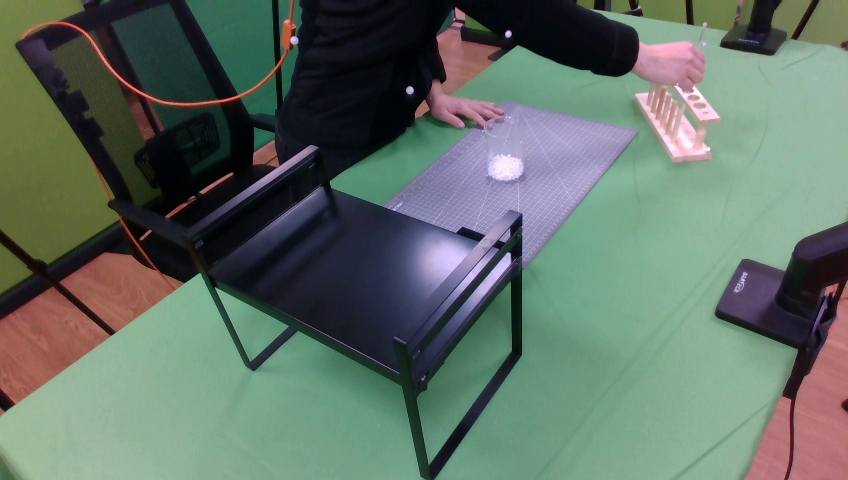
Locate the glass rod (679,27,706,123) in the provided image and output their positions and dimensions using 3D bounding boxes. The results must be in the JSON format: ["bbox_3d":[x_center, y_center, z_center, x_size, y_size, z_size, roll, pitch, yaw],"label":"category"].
[{"bbox_3d":[0.479,-0.290,1.085,0.008,0.200,0.008,-4,49,5],"label":"glass rod"}]

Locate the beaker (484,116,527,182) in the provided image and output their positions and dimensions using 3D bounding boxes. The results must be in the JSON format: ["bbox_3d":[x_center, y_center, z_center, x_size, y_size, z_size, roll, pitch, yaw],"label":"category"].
[{"bbox_3d":[0.147,-0.162,1.079,0.073,0.101,0.084,13,44,22],"label":"beaker"}]

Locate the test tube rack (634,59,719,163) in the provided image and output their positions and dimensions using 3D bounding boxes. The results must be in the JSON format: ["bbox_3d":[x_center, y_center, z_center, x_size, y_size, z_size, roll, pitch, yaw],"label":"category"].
[{"bbox_3d":[0.471,-0.250,1.148,0.067,0.085,0.241,-6,40,2],"label":"test tube rack"}]
